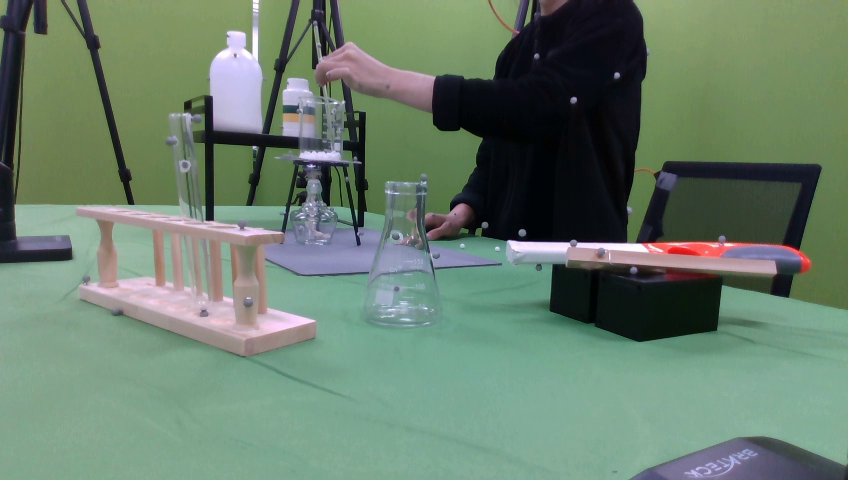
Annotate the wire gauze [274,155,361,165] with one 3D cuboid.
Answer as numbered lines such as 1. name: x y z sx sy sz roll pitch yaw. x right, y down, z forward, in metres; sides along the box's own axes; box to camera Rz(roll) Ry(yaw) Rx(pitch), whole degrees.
1. wire gauze: -0.174 -0.129 0.978 0.125 0.011 0.121 -2 6 -19

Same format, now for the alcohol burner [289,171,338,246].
1. alcohol burner: -0.177 -0.051 0.968 0.078 0.119 0.078 1 6 0

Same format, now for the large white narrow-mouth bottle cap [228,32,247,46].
1. large white narrow-mouth bottle cap: -0.364 -0.390 1.180 0.038 0.024 0.037 3 8 0

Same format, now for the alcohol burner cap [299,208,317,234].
1. alcohol burner cap: -0.213 -0.035 1.110 0.034 0.048 0.034 2 7 0

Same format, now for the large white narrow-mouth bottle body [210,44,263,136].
1. large white narrow-mouth bottle body: -0.369 -0.305 1.194 0.102 0.194 0.102 3 8 0

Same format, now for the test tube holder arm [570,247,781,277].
1. test tube holder arm: 0.217 0.019 0.524 0.178 0.015 0.013 3 -23 3

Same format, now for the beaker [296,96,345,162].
1. beaker: -0.163 -0.175 0.966 0.083 0.100 0.074 8 8 34

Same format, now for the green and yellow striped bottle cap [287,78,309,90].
1. green and yellow striped bottle cap: -0.265 -0.326 1.268 0.045 0.020 0.045 4 6 0

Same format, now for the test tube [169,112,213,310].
1. test tube: -0.175 -0.020 0.455 0.017 0.150 0.017 -3 9 1

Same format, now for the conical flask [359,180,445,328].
1. conical flask: -0.017 0.010 0.522 0.075 0.122 0.075 2 7 0

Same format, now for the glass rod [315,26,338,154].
1. glass rod: -0.156 -0.237 0.965 0.008 0.199 0.008 -6 15 2

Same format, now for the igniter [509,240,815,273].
1. igniter: 0.220 0.015 0.566 0.277 0.025 0.057 2 16 0

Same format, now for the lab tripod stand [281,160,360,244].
1. lab tripod stand: -0.170 -0.063 0.983 0.148 0.131 0.148 1 6 0

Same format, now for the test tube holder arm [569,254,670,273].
1. test tube holder arm: 0.172 0.019 0.532 0.088 0.015 0.010 3 -23 4

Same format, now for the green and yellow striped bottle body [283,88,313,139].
1. green and yellow striped bottle body: -0.265 -0.275 1.275 0.063 0.119 0.063 3 7 0

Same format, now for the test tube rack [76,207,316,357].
1. test tube rack: -0.196 0.023 0.499 0.241 0.085 0.067 8 9 36
